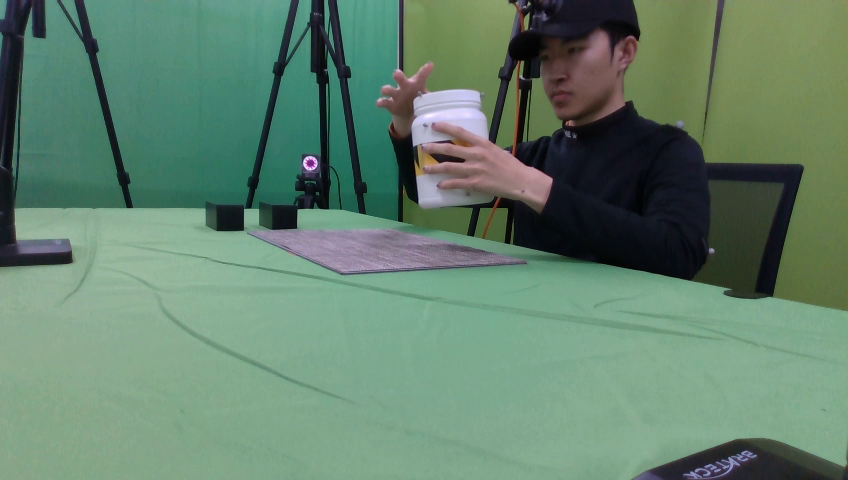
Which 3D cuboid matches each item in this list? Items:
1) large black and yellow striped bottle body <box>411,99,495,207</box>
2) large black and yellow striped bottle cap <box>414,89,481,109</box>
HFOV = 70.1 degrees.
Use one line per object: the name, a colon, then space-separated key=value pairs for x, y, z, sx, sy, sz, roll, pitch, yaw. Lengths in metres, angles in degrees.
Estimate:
large black and yellow striped bottle body: x=0.048 y=-0.154 z=1.032 sx=0.131 sy=0.184 sz=0.131 roll=-6 pitch=3 yaw=1
large black and yellow striped bottle cap: x=0.039 y=-0.237 z=1.028 sx=0.115 sy=0.019 sz=0.115 roll=-5 pitch=4 yaw=1
